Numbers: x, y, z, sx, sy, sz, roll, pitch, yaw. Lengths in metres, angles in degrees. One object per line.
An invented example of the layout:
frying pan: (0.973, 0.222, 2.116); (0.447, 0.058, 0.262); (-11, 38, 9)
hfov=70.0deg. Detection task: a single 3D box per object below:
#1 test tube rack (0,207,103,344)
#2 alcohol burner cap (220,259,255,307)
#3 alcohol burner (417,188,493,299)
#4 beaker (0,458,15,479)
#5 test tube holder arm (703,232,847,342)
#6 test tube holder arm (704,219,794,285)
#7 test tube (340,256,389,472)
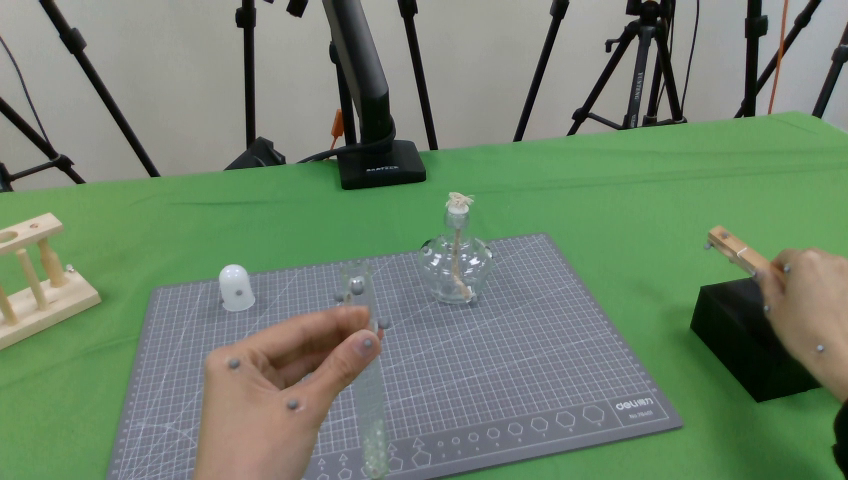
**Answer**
test tube rack: (-0.445, 0.062, 0.560); (0.066, 0.086, 0.242); (28, 44, 35)
alcohol burner cap: (-0.192, 0.042, 0.617); (0.034, 0.048, 0.033); (-1, 34, 1)
alcohol burner: (0.032, -0.001, 0.609); (0.078, 0.120, 0.077); (1, 34, 0)
beaker: (-0.292, 0.176, 0.376); (0.084, 0.101, 0.073); (-4, 34, -2)
test tube holder arm: (0.309, 0.040, 0.512); (0.015, 0.013, 0.176); (-39, 49, 0)
test tube holder arm: (0.286, 0.011, 0.537); (0.015, 0.010, 0.087); (-39, 48, 0)
test tube: (-0.032, 0.076, 0.340); (0.017, 0.151, 0.017); (-2, 30, 1)
